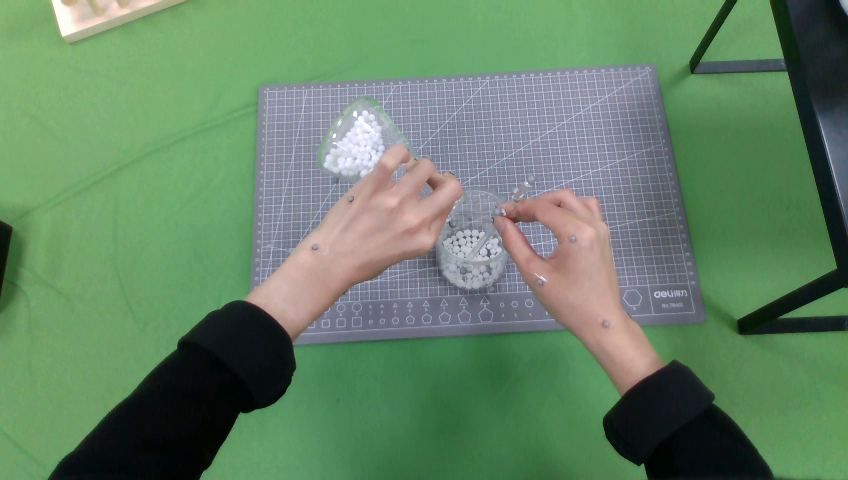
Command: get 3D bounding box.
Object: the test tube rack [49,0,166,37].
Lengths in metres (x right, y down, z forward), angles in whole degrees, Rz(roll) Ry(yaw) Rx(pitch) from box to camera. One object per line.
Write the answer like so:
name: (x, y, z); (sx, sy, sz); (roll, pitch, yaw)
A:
test tube rack: (-0.330, -0.329, 0.700); (0.242, 0.086, 0.066); (-23, 72, -6)

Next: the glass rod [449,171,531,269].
glass rod: (0.050, -0.011, 0.516); (0.008, 0.200, 0.008); (5, 68, -12)

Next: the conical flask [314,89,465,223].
conical flask: (-0.024, -0.064, 0.508); (0.122, 0.075, 0.075); (36, 75, 1)

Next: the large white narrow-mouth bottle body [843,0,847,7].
large white narrow-mouth bottle body: (0.381, -0.237, 0.407); (0.102, 0.196, 0.101); (-1, 70, 3)

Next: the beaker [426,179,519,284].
beaker: (0.043, -0.004, 0.574); (0.084, 0.101, 0.073); (20, 72, 9)
